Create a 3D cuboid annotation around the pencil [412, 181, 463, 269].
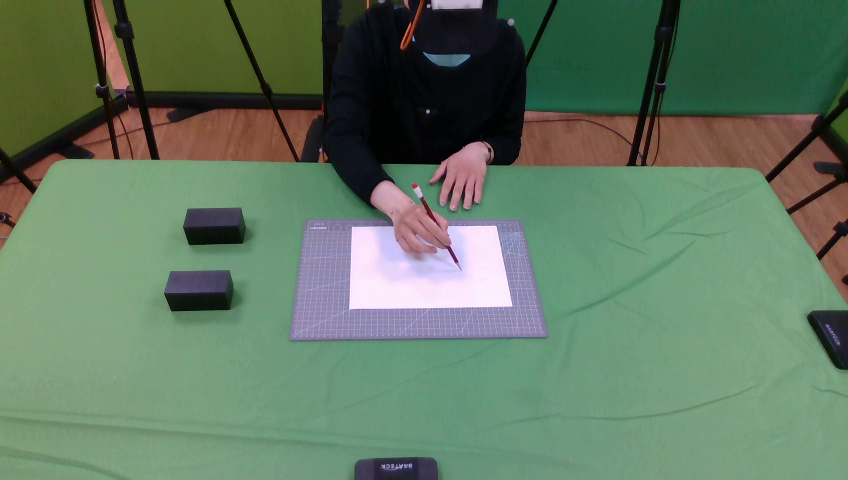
[{"bbox_3d":[0.027,-0.026,1.123,0.012,0.194,0.012,-27,18,9],"label":"pencil"}]
